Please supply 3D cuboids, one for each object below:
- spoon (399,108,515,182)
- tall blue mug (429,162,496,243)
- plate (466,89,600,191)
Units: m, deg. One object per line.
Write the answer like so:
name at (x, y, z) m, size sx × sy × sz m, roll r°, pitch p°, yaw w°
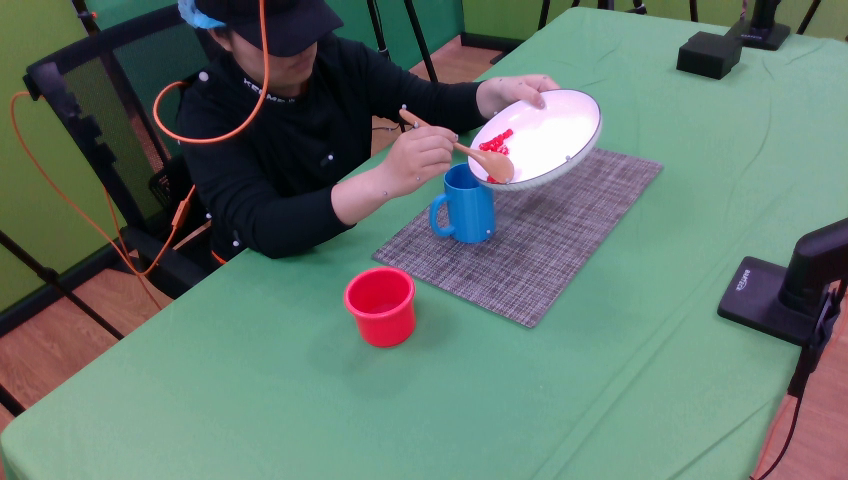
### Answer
spoon at (0.050, -0.137, 0.868) m, size 0.194 × 0.021 × 0.041 m, roll 25°, pitch 80°, yaw -10°
tall blue mug at (0.067, -0.051, 0.960) m, size 0.077 × 0.108 × 0.107 m, roll 18°, pitch 47°, yaw 27°
plate at (0.165, -0.145, 0.911) m, size 0.207 × 0.039 × 0.206 m, roll -20°, pitch 40°, yaw 19°
